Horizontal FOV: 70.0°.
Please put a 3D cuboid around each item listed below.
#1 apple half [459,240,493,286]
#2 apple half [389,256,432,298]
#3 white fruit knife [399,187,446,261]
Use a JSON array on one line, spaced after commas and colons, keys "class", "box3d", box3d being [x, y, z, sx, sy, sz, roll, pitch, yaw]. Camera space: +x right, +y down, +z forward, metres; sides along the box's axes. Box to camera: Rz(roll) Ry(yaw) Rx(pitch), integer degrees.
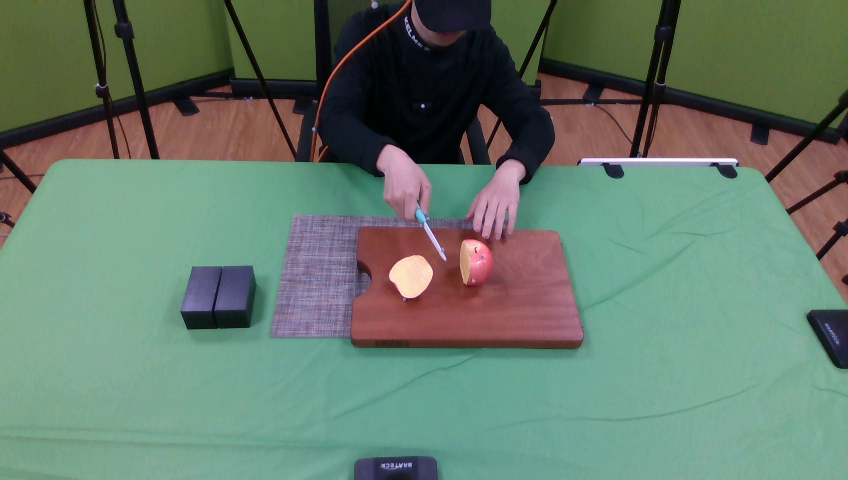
[{"class": "apple half", "box3d": [0.096, 0.042, 1.093, 0.053, 0.075, 0.080, -1, 42, -11]}, {"class": "apple half", "box3d": [-0.019, 0.069, 1.080, 0.081, 0.033, 0.081, -6, 63, 12]}, {"class": "white fruit knife", "box3d": [-0.003, -0.033, 1.092, 0.016, 0.027, 0.206, -19, 48, -14]}]
